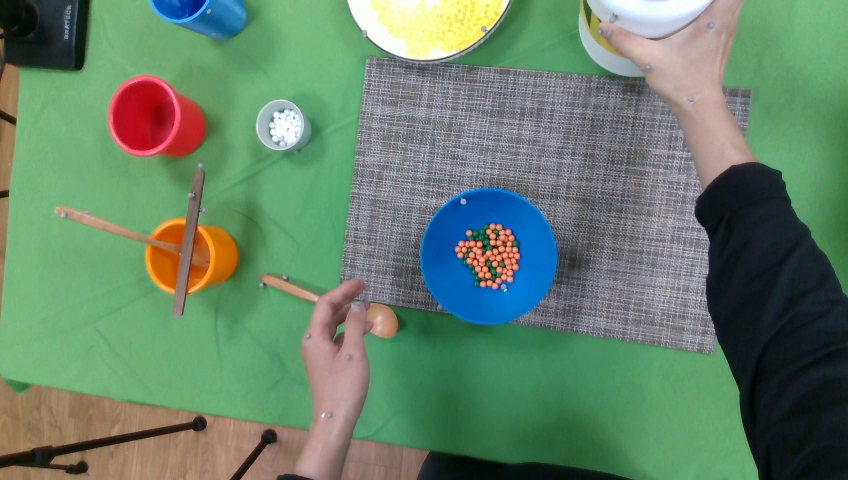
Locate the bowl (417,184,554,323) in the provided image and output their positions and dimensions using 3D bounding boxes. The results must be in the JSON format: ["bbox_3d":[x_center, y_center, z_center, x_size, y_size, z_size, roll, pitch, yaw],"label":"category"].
[{"bbox_3d":[0.072,0.016,0.693,0.151,0.077,0.151,0,91,10],"label":"bowl"}]

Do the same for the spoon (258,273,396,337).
[{"bbox_3d":[-0.124,0.075,0.759,0.193,0.021,0.042,18,108,8],"label":"spoon"}]

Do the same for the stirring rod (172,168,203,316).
[{"bbox_3d":[-0.280,0.003,0.717,0.014,0.006,0.176,9,93,7],"label":"stirring rod"}]

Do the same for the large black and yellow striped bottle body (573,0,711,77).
[{"bbox_3d":[0.213,-0.251,0.587,0.130,0.185,0.130,-1,84,12],"label":"large black and yellow striped bottle body"}]

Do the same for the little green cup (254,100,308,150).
[{"bbox_3d":[-0.176,-0.140,0.755,0.061,0.039,0.061,0,91,11],"label":"little green cup"}]

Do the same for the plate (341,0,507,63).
[{"bbox_3d":[0.002,-0.313,0.722,0.209,0.038,0.209,0,92,10],"label":"plate"}]

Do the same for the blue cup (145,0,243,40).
[{"bbox_3d":[-0.271,-0.289,0.736,0.092,0.100,0.092,0,91,12],"label":"blue cup"}]

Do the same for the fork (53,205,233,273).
[{"bbox_3d":[-0.331,-0.001,0.728,0.209,0.018,0.028,23,98,-35],"label":"fork"}]
